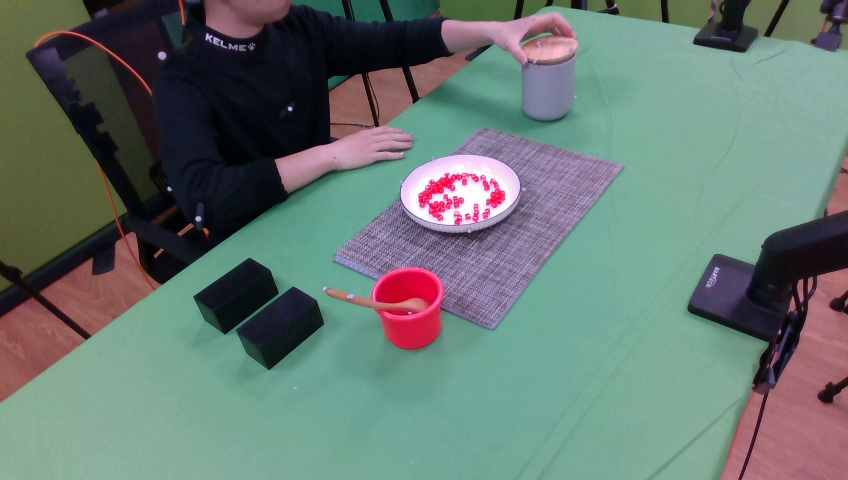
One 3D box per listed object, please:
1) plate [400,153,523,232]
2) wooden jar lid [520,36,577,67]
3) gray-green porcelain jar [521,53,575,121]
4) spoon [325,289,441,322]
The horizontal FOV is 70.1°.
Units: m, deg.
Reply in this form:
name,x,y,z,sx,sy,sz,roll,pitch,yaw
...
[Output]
name,x,y,z,sx,sy,sz,roll,pitch,yaw
plate,0.065,-0.078,1.034,0.207,0.039,0.206,-4,41,4
wooden jar lid,0.242,-0.365,1.176,0.108,0.021,0.108,-7,42,7
gray-green porcelain jar,0.249,-0.313,1.219,0.106,0.127,0.105,-4,41,4
spoon,-0.047,0.084,0.776,0.195,0.021,0.041,12,26,-42
